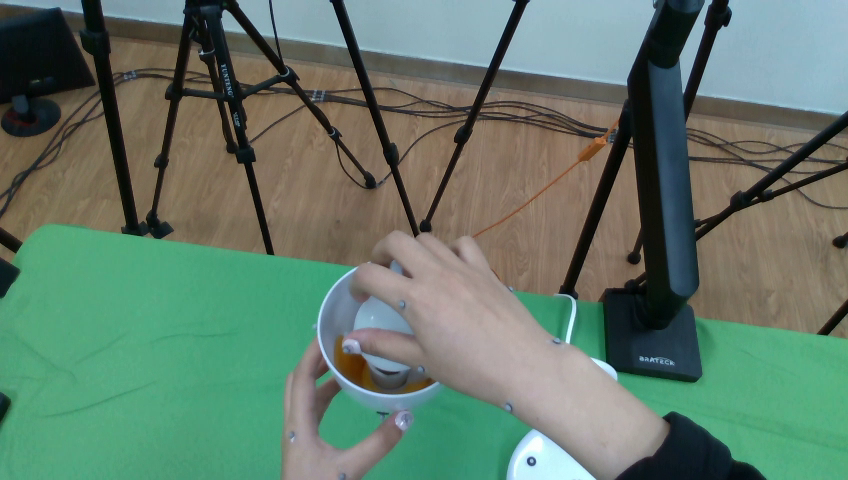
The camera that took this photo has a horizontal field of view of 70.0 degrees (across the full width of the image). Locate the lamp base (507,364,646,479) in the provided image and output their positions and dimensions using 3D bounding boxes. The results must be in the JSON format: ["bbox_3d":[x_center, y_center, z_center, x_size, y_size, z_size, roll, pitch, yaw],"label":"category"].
[{"bbox_3d":[0.176,0.219,0.635,0.161,0.182,0.177,-4,53,-7],"label":"lamp base"}]

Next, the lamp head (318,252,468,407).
[{"bbox_3d":[-0.021,0.085,0.491,0.112,0.124,0.111,-1,60,2],"label":"lamp head"}]

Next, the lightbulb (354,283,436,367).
[{"bbox_3d":[-0.022,0.072,0.461,0.059,0.108,0.059,2,62,-4],"label":"lightbulb"}]
